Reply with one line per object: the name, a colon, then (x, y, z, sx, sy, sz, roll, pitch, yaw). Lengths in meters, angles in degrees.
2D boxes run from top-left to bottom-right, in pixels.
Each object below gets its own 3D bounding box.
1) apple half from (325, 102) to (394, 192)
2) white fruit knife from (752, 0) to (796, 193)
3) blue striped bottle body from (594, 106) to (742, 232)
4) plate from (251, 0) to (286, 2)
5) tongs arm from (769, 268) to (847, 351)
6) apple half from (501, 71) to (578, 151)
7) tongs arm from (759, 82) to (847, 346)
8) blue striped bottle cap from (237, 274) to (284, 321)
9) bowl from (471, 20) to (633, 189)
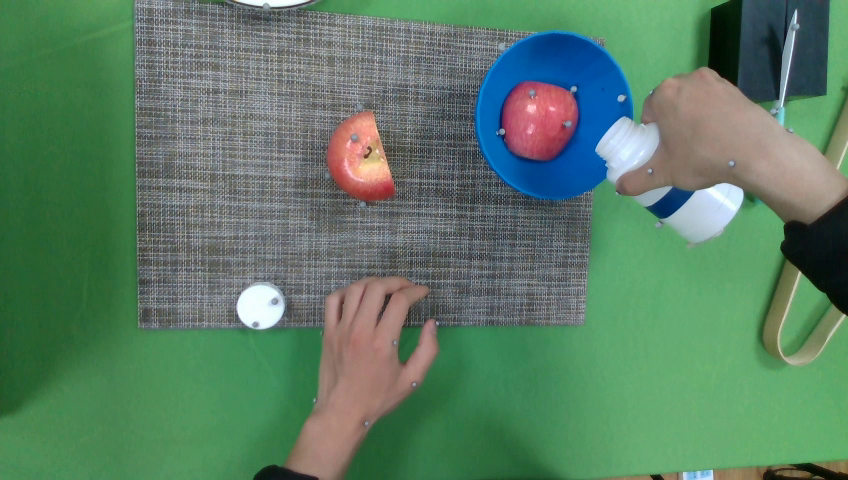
apple half: (-0.063, -0.080, 0.555, 0.053, 0.074, 0.081, -18, 104, -4)
white fruit knife: (0.363, -0.143, 0.626, 0.016, 0.027, 0.209, -2, 115, 7)
blue striped bottle body: (0.206, -0.065, 0.525, 0.121, 0.063, 0.063, 35, 90, -5)
plate: (-0.148, -0.314, 0.530, 0.208, 0.039, 0.208, -1, 98, -11)
tongs arm: (0.526, -0.031, 0.699, 0.051, 0.026, 0.385, 31, 92, -12)
apple half: (0.114, -0.123, 0.576, 0.081, 0.032, 0.081, -1, 96, -10)
tongs arm: (0.454, -0.067, 0.685, 0.028, 0.027, 0.387, 17, 95, -15)
blue striped bottle cap: (-0.158, 0.056, 0.584, 0.045, 0.020, 0.044, -2, 97, -13)
bowl: (0.111, -0.125, 0.581, 0.152, 0.076, 0.151, -1, 98, -10)
